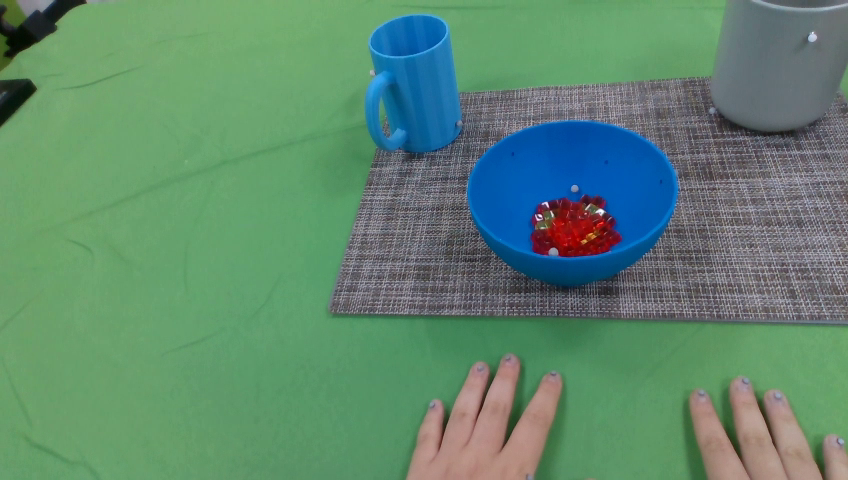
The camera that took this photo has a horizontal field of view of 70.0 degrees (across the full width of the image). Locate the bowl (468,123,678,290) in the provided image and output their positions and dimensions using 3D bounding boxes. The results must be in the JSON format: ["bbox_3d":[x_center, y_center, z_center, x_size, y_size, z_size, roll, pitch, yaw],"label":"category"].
[{"bbox_3d":[0.112,-0.014,0.470,0.151,0.077,0.150,-6,47,7],"label":"bowl"}]

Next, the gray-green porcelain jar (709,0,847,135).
[{"bbox_3d":[0.313,-0.165,0.531,0.106,0.128,0.105,-6,47,7],"label":"gray-green porcelain jar"}]

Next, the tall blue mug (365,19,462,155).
[{"bbox_3d":[-0.008,-0.138,0.589,0.077,0.109,0.106,1,48,12],"label":"tall blue mug"}]
